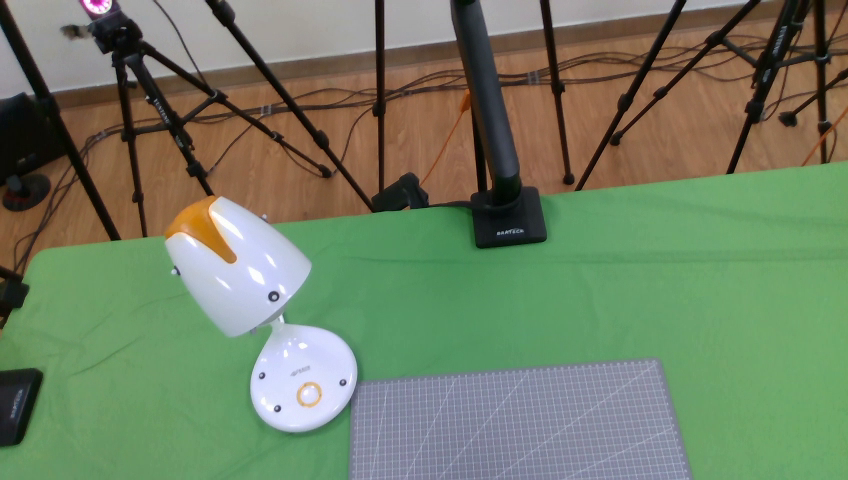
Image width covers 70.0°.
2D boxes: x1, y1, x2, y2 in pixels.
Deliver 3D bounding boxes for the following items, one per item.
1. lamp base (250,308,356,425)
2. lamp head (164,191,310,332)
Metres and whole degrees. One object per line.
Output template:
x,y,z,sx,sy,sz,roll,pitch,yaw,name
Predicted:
-0.197,0.147,0.849,0.160,0.182,0.177,-31,55,-13,lamp base
-0.192,0.011,0.599,0.112,0.123,0.111,-35,18,13,lamp head
